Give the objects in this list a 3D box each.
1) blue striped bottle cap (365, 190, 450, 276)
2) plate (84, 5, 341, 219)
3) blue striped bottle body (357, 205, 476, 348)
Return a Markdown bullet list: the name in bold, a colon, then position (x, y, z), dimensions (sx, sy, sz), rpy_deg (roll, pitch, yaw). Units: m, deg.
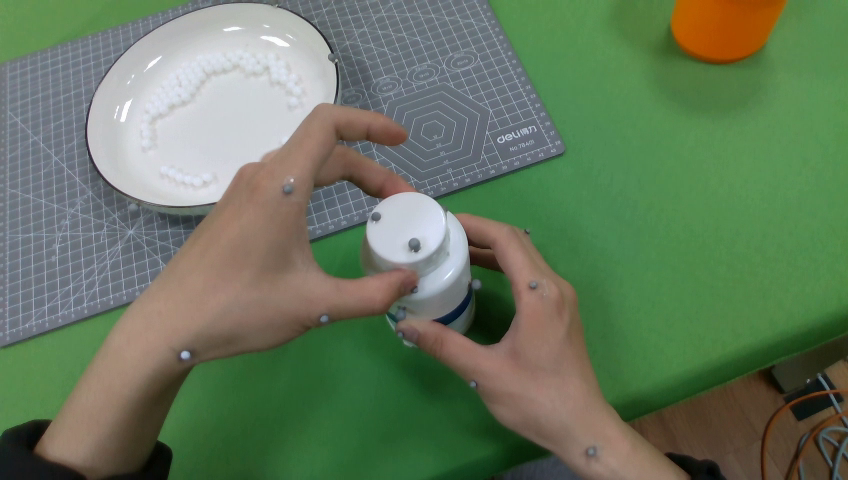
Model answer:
- **blue striped bottle cap**: position (-0.009, -0.005, 0.325), dimensions (0.044, 0.021, 0.044), rpy_deg (-3, 65, 6)
- **plate**: position (-0.167, -0.104, 0.496), dimensions (0.207, 0.039, 0.206), rpy_deg (-3, 63, 6)
- **blue striped bottle body**: position (-0.003, 0.019, 0.370), dimensions (0.063, 0.122, 0.062), rpy_deg (-3, 62, 7)
